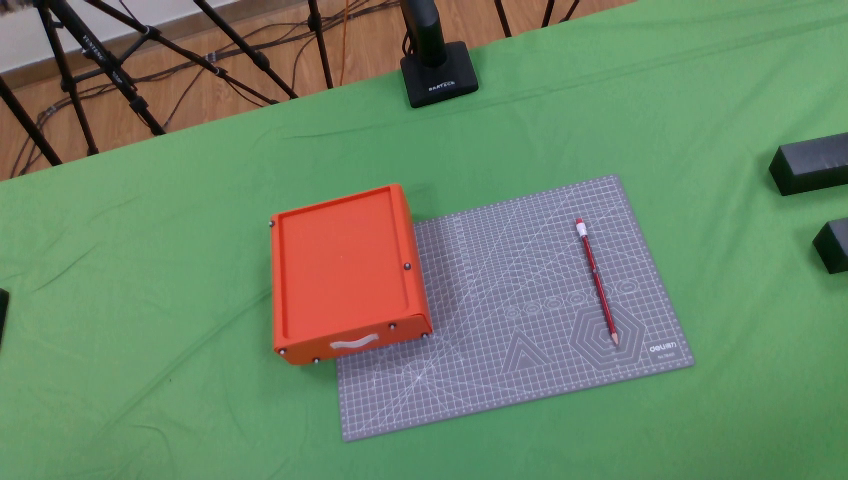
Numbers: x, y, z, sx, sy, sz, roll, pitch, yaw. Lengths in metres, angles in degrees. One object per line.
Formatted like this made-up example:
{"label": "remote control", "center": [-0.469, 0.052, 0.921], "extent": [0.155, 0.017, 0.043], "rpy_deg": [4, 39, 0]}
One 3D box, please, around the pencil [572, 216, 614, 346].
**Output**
{"label": "pencil", "center": [0.227, 0.052, 0.814], "extent": [0.012, 0.012, 0.192], "rpy_deg": [-12, 62, 5]}

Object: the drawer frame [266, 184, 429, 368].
{"label": "drawer frame", "center": [-0.112, 0.050, 0.844], "extent": [0.201, 0.083, 0.211], "rpy_deg": [-15, 58, 5]}

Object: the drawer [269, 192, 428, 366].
{"label": "drawer", "center": [-0.109, 0.052, 0.844], "extent": [0.194, 0.074, 0.209], "rpy_deg": [-14, 58, 5]}
